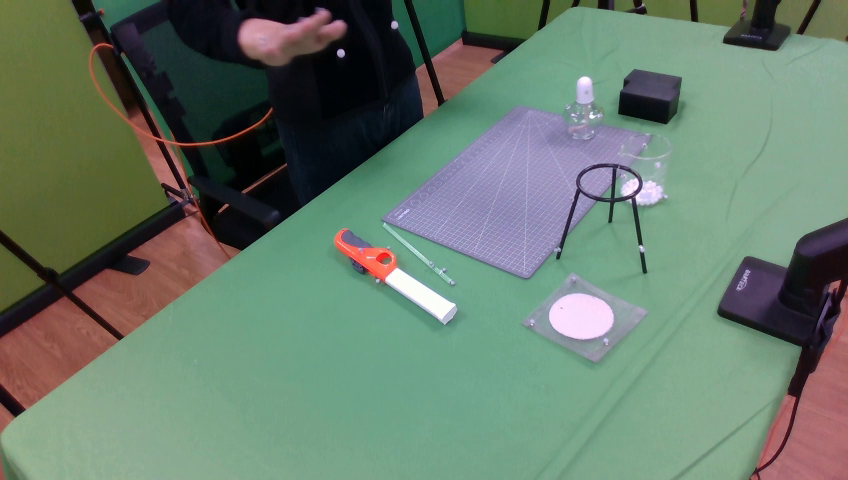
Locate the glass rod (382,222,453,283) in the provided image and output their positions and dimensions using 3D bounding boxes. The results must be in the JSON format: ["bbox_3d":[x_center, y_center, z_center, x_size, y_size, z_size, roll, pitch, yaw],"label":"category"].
[{"bbox_3d":[-0.014,0.016,0.976,0.008,0.008,0.198,-30,44,-22],"label":"glass rod"}]

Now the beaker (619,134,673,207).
[{"bbox_3d":[0.357,-0.111,0.986,0.084,0.101,0.073,-10,40,1],"label":"beaker"}]

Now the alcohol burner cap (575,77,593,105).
[{"bbox_3d":[0.297,-0.279,1.124,0.034,0.048,0.033,-8,41,8],"label":"alcohol burner cap"}]

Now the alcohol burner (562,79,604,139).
[{"bbox_3d":[0.303,-0.253,1.147,0.078,0.119,0.077,-4,41,4],"label":"alcohol burner"}]

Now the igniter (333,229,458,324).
[{"bbox_3d":[-0.055,0.049,0.929,0.057,0.025,0.274,-42,49,-20],"label":"igniter"}]

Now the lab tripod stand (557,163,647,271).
[{"bbox_3d":[0.271,-0.034,0.885,0.148,0.132,0.147,-4,40,4],"label":"lab tripod stand"}]

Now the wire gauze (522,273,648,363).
[{"bbox_3d":[0.220,0.105,0.828,0.125,0.011,0.120,-35,47,-30],"label":"wire gauze"}]
